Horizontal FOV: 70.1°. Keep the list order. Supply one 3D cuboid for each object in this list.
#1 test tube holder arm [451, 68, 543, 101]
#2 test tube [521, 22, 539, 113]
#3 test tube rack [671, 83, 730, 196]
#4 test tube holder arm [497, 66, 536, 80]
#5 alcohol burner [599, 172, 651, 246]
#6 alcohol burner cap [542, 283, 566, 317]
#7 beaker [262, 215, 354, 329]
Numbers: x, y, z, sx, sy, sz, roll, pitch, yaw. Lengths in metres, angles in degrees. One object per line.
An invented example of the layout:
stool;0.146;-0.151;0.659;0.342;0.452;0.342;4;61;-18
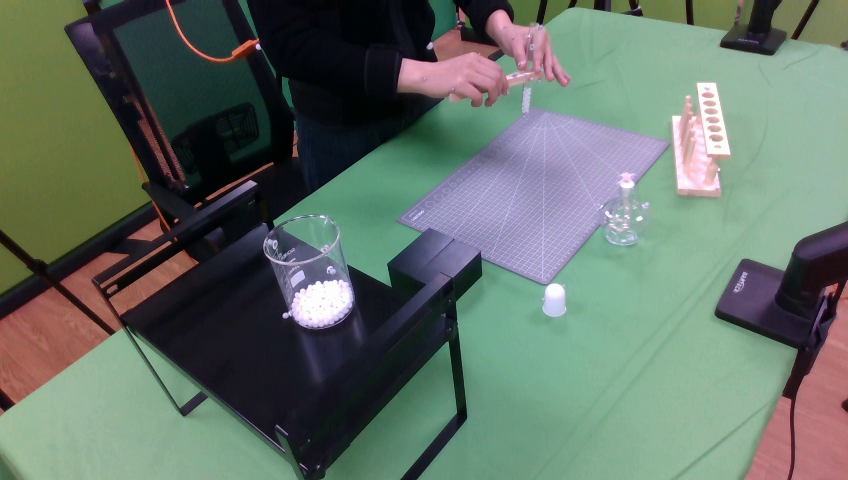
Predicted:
test tube holder arm;0.121;-0.254;0.983;0.179;0.015;0.013;-21;34;-24
test tube;0.177;-0.285;1.010;0.017;0.150;0.017;1;32;0
test tube rack;0.482;-0.184;1.067;0.066;0.085;0.242;6;42;15
test tube holder arm;0.155;-0.272;1.007;0.088;0.015;0.010;-28;37;-32
alcohol burner;0.306;-0.051;0.918;0.078;0.119;0.077;-6;41;5
alcohol burner cap;0.181;0.081;0.840;0.034;0.048;0.033;-4;40;4
beaker;-0.112;0.034;0.616;0.073;0.101;0.084;13;44;23
